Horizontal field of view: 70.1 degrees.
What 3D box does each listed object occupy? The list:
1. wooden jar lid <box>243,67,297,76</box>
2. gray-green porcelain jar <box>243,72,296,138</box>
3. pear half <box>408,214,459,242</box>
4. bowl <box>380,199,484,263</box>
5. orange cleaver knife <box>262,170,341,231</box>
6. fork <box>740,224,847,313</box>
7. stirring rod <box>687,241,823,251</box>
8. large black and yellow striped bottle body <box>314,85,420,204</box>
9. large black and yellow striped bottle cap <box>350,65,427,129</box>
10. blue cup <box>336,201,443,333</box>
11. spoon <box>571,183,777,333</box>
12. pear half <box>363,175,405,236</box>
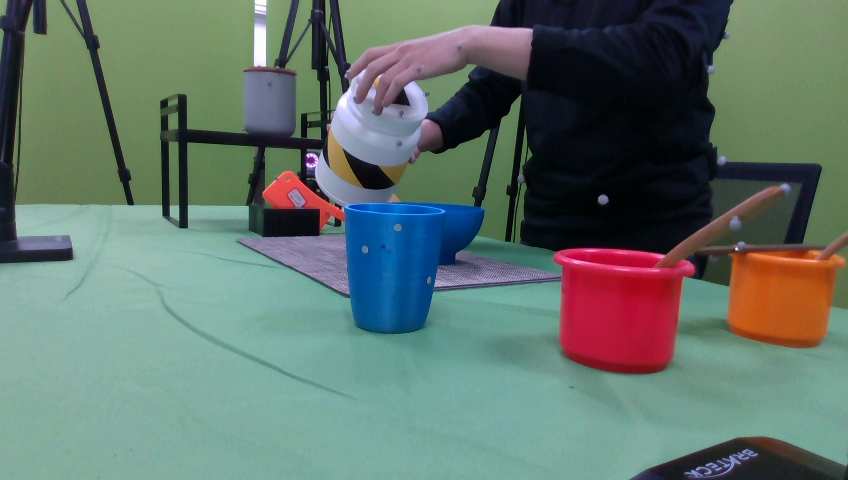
[{"bbox_3d":[-0.319,-0.342,1.254,0.108,0.020,0.108,3,8,0],"label":"wooden jar lid"},{"bbox_3d":[-0.322,-0.279,1.263,0.106,0.126,0.106,3,8,0],"label":"gray-green porcelain jar"},{"bbox_3d":[0.011,-0.019,0.848,0.070,0.031,0.088,5,12,32],"label":"pear half"},{"bbox_3d":[0.008,-0.012,0.842,0.151,0.077,0.151,3,8,0],"label":"bowl"},{"bbox_3d":[-0.201,-0.057,1.136,0.212,0.077,0.012,31,-4,-31],"label":"orange cleaver knife"},{"bbox_3d":[0.323,0.013,0.485,0.028,0.018,0.207,8,-37,-6],"label":"fork"},{"bbox_3d":[0.290,0.005,0.525,0.177,0.006,0.014,-1,5,-26],"label":"stirring rod"},{"bbox_3d":[-0.084,-0.151,0.925,0.131,0.183,0.130,15,45,-15],"label":"large black and yellow striped bottle body"},{"bbox_3d":[-0.049,-0.205,0.863,0.115,0.114,0.019,-3,-34,-35],"label":"large black and yellow striped bottle cap"},{"bbox_3d":[-0.029,0.022,0.507,0.093,0.100,0.092,3,9,0],"label":"blue cup"},{"bbox_3d":[0.161,0.020,0.413,0.042,0.021,0.193,1,-36,-24],"label":"spoon"},{"bbox_3d":[-0.064,-0.061,1.077,0.055,0.110,0.077,9,14,39],"label":"pear half"}]
